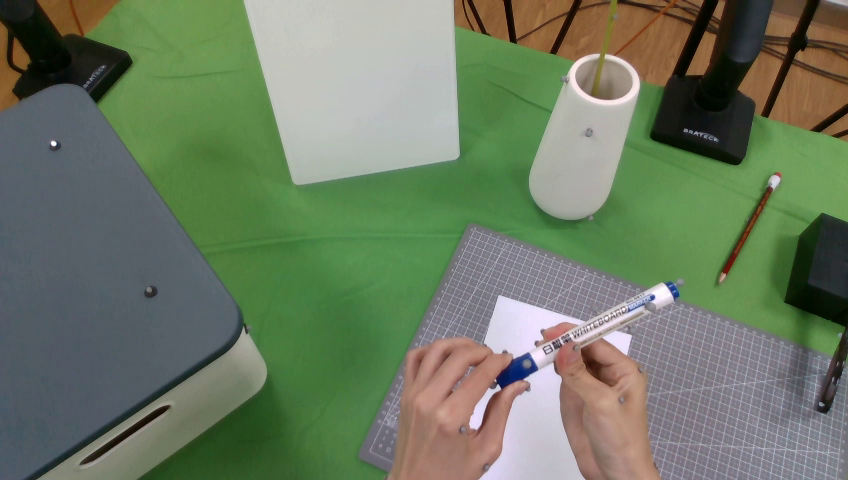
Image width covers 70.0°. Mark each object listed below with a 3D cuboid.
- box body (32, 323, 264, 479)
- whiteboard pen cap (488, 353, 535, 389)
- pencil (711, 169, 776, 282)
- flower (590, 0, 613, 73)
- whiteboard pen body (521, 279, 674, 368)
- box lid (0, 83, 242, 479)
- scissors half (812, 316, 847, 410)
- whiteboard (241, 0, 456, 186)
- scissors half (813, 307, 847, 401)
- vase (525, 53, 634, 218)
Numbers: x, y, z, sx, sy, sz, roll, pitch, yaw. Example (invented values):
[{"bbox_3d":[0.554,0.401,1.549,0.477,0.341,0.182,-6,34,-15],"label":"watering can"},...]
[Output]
[{"bbox_3d":[-0.357,0.057,0.598,0.254,0.161,0.361,-35,67,-18],"label":"box body"},{"bbox_3d":[0.065,0.095,0.446,0.033,0.018,0.018,-27,63,3],"label":"whiteboard pen cap"},{"bbox_3d":[0.388,-0.020,0.734,0.012,0.012,0.193,32,66,17],"label":"pencil"},{"bbox_3d":[0.169,-0.165,0.611,0.044,0.365,0.038,15,44,12],"label":"flower"},{"bbox_3d":[0.116,0.066,0.441,0.141,0.017,0.017,-29,63,5],"label":"whiteboard pen body"},{"bbox_3d":[-0.359,0.019,0.534,0.263,0.015,0.368,-35,67,-19],"label":"box lid"},{"bbox_3d":[0.436,0.095,0.631,0.012,0.040,0.175,19,80,36],"label":"scissors half"},{"bbox_3d":[-0.086,-0.245,0.723,0.217,0.308,0.142,-10,42,-5],"label":"whiteboard"},{"bbox_3d":[0.428,0.085,0.615,0.012,0.040,0.174,20,64,31],"label":"scissors half"},{"bbox_3d":[0.171,-0.110,0.675,0.098,0.201,0.097,0,59,1],"label":"vase"}]
